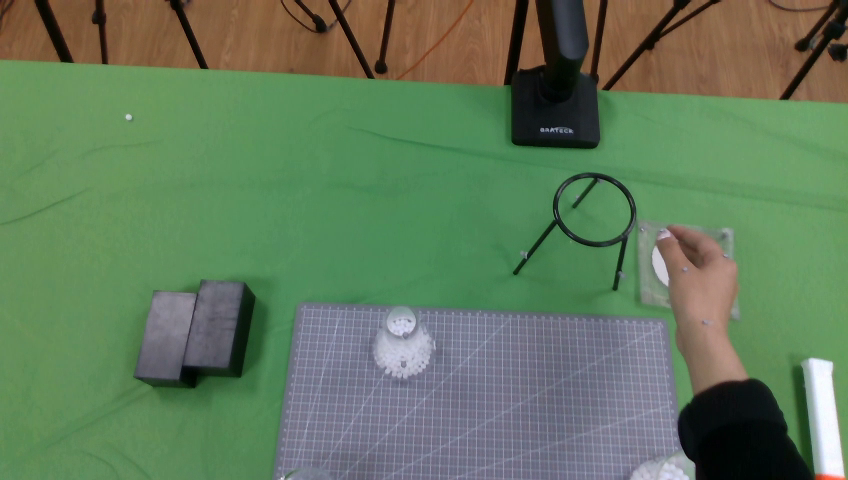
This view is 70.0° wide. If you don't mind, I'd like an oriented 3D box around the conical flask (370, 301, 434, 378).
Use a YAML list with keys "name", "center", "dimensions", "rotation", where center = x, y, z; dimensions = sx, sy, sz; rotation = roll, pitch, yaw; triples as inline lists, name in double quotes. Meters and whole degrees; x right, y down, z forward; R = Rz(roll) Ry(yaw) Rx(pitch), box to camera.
- name: "conical flask"
  center: [-0.025, 0.103, 0.663]
  dimensions: [0.075, 0.123, 0.075]
  rotation: [0, 66, 0]

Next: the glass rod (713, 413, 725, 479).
- name: "glass rod"
  center: [0.324, 0.288, 0.654]
  dimensions: [0.008, 0.008, 0.198]
  rotation: [6, 67, 2]

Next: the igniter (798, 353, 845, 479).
- name: "igniter"
  center: [0.438, 0.260, 0.658]
  dimensions: [0.057, 0.025, 0.274]
  rotation: [12, 67, -7]

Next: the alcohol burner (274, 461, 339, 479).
- name: "alcohol burner"
  center: [-0.121, 0.258, 0.599]
  dimensions: [0.078, 0.120, 0.077]
  rotation: [-1, 65, 2]

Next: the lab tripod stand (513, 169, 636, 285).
- name: "lab tripod stand"
  center: [0.181, -0.010, 0.713]
  dimensions: [0.148, 0.132, 0.147]
  rotation: [0, 68, 0]

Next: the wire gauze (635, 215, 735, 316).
- name: "wire gauze"
  center: [0.330, 0.029, 0.767]
  dimensions: [0.125, 0.011, 0.120]
  rotation: [9, 67, 1]

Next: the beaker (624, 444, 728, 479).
- name: "beaker"
  center: [0.253, 0.249, 0.617]
  dimensions: [0.084, 0.101, 0.073]
  rotation: [-32, 71, -14]
